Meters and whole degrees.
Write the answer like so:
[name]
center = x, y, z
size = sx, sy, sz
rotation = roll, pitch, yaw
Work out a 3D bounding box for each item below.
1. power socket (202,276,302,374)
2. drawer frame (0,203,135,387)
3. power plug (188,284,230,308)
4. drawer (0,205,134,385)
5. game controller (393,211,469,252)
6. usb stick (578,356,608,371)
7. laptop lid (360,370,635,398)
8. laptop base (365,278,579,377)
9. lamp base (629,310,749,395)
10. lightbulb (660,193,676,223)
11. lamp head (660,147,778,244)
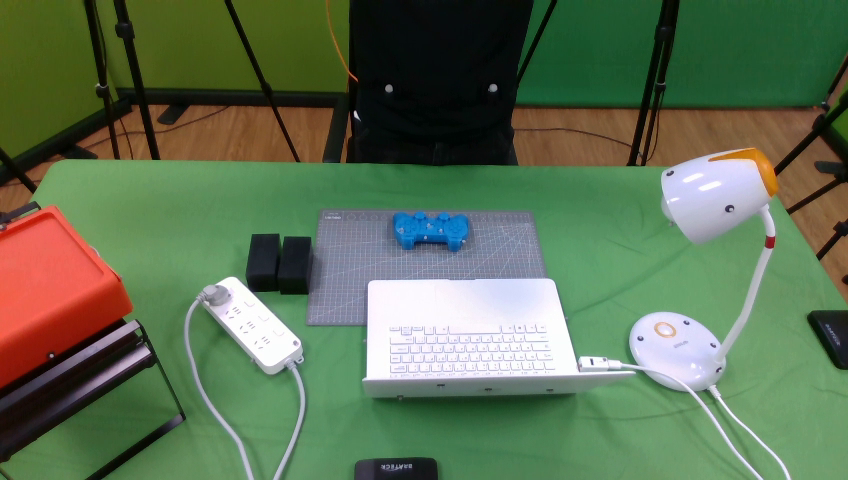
[power socket]
center = -0.297, 0.142, 1.033
size = 0.072, 0.033, 0.225
rotation = -34, 58, -31
[drawer frame]
center = -0.536, 0.073, 0.798
size = 0.200, 0.083, 0.213
rotation = 36, 54, 26
[power plug]
center = -0.368, 0.100, 1.036
size = 0.072, 0.053, 0.035
rotation = -27, 54, -24
[drawer]
center = -0.533, 0.071, 0.802
size = 0.193, 0.073, 0.211
rotation = 37, 55, 26
[game controller]
center = 0.014, -0.027, 1.204
size = 0.155, 0.052, 0.096
rotation = 2, 51, -2
[usb stick]
center = 0.273, 0.207, 1.007
size = 0.059, 0.027, 0.021
rotation = 0, 51, 0
[laptop lid]
center = 0.090, 0.208, 0.863
size = 0.357, 0.242, 0.013
rotation = 0, 70, -6
[laptop base]
center = 0.076, 0.162, 1.053
size = 0.355, 0.023, 0.234
rotation = 0, 44, -4
[lamp base]
center = 0.447, 0.142, 0.984
size = 0.161, 0.181, 0.178
rotation = -24, 55, -24
[lightbulb]
center = 0.366, -0.060, 0.806
size = 0.060, 0.107, 0.059
rotation = 17, 60, -32
[lamp head]
center = 0.389, -0.063, 0.784
size = 0.123, 0.113, 0.112
rotation = -21, 33, 37
